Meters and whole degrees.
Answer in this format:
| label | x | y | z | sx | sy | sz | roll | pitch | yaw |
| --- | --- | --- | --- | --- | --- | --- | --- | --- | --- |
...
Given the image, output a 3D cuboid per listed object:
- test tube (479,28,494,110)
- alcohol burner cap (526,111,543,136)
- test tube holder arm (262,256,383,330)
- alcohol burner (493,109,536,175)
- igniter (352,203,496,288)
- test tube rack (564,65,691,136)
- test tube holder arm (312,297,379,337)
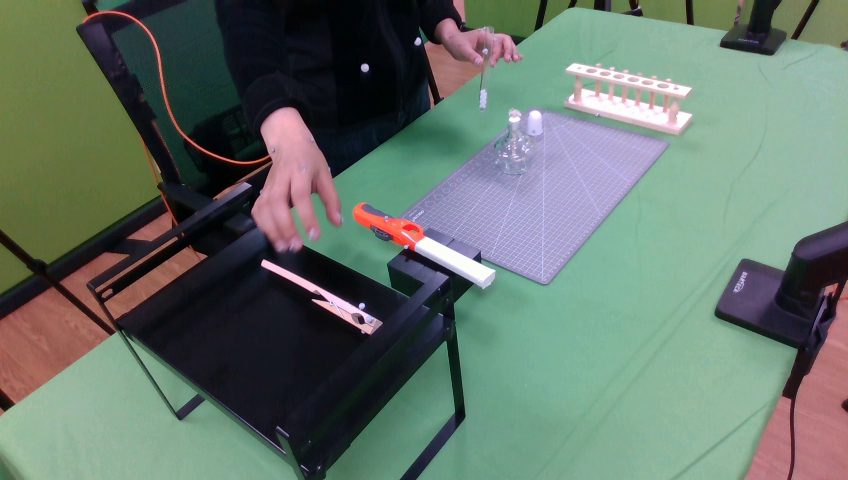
| label | x | y | z | sx | sy | sz | roll | pitch | yaw |
| --- | --- | --- | --- | --- | --- | --- | --- | --- | --- |
| test tube | 0.112 | -0.308 | 1.100 | 0.017 | 0.150 | 0.017 | 2 | 35 | -1 |
| alcohol burner cap | 0.219 | -0.232 | 1.196 | 0.034 | 0.048 | 0.033 | -4 | 41 | 4 |
| test tube holder arm | -0.113 | 0.054 | 0.647 | 0.177 | 0.015 | 0.013 | 26 | 81 | 33 |
| alcohol burner | 0.163 | -0.179 | 1.087 | 0.078 | 0.119 | 0.077 | -5 | 39 | 5 |
| igniter | -0.011 | 0.002 | 0.900 | 0.274 | 0.025 | 0.057 | 27 | 45 | 33 |
| test tube rack | 0.404 | -0.288 | 1.204 | 0.240 | 0.085 | 0.067 | 24 | 49 | 32 |
| test tube holder arm | -0.082 | 0.075 | 0.622 | 0.087 | 0.015 | 0.010 | 27 | 81 | 33 |
